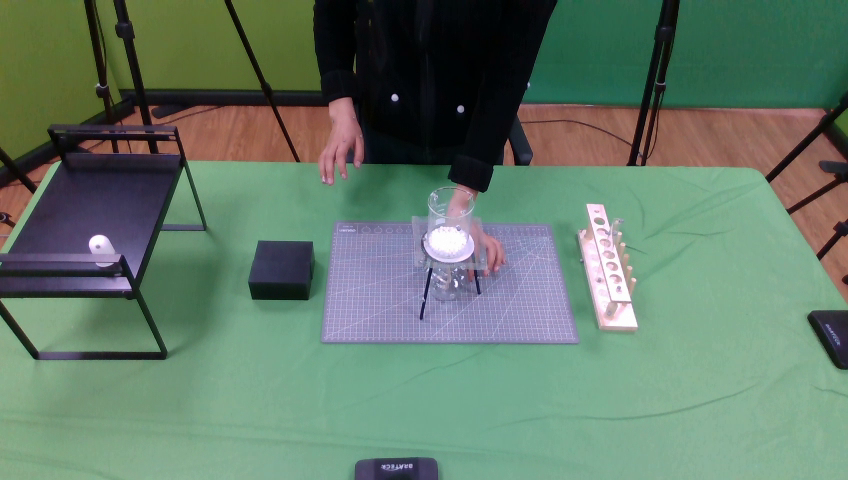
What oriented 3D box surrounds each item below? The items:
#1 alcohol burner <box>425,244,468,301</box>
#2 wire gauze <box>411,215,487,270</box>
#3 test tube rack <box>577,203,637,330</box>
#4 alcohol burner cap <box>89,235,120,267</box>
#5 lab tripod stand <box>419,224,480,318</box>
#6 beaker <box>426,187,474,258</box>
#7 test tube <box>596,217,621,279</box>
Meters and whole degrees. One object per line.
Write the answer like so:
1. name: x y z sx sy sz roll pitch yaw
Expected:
1. alcohol burner: 0.040 0.053 1.083 0.078 0.120 0.077 1 47 -1
2. wire gauze: 0.041 0.003 1.026 0.125 0.011 0.120 0 46 -1
3. test tube rack: 0.348 0.045 1.139 0.067 0.085 0.241 2 46 -2
4. alcohol burner cap: -0.469 0.013 0.885 0.034 0.048 0.033 1 47 -1
5. lab tripod stand: 0.034 0.052 1.070 0.148 0.132 0.147 3 48 -3
6. beaker: 0.043 -0.027 0.989 0.084 0.101 0.073 -27 53 -26
7. test tube: 0.331 0.018 1.094 0.017 0.151 0.017 0 45 0
